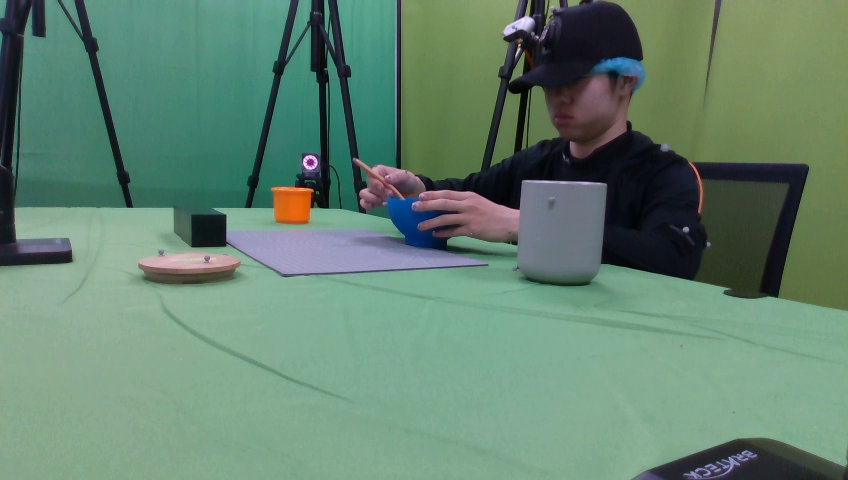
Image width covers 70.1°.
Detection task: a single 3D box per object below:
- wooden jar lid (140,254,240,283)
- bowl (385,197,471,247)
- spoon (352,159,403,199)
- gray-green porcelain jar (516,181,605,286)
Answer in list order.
[{"bbox_3d":[-0.269,0.032,0.698,0.108,0.020,0.108,2,5,0],"label":"wooden jar lid"},{"bbox_3d":[0.004,-0.030,1.045,0.151,0.077,0.151,5,5,0],"label":"bowl"},{"bbox_3d":[-0.054,-0.082,1.067,0.193,0.021,0.042,45,18,7],"label":"spoon"},{"bbox_3d":[0.172,-0.010,0.768,0.106,0.126,0.106,2,7,0],"label":"gray-green porcelain jar"}]
